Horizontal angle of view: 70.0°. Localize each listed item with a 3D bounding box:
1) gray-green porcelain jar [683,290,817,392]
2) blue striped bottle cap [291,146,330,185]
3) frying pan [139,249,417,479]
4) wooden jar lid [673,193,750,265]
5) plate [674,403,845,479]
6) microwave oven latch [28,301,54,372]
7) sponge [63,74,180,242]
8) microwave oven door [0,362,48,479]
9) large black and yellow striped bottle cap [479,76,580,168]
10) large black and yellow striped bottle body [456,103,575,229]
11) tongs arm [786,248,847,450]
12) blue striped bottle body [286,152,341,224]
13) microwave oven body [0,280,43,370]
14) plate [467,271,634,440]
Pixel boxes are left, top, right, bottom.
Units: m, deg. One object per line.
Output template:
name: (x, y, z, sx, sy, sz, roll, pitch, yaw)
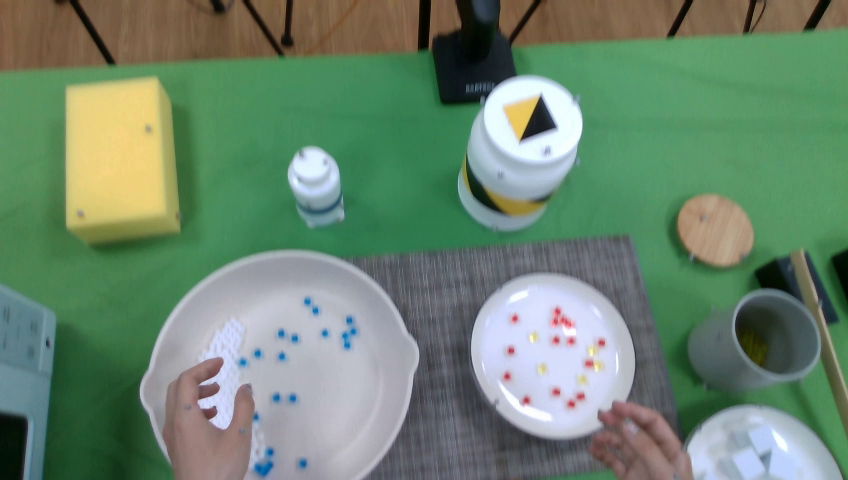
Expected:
gray-green porcelain jar: (0.388, 0.128, 0.740, 0.106, 0.127, 0.105, 2, 69, -4)
blue striped bottle cap: (-0.135, -0.089, 0.721, 0.044, 0.021, 0.044, 1, 67, -2)
frying pan: (-0.147, 0.248, 0.658, 0.307, 0.103, 0.483, -6, 63, -4)
wooden jar lid: (0.400, -0.014, 0.851, 0.108, 0.021, 0.107, 2, 71, -4)
plate: (0.398, 0.302, 0.724, 0.208, 0.039, 0.206, 2, 69, -4)
microwave oven latch: (-0.448, 0.112, 0.698, 0.030, 0.029, 0.078, -3, 71, -7)
sponge: (-0.395, -0.109, 0.791, 0.118, 0.061, 0.205, -10, 72, -9)
microwave oven door: (-0.420, 0.280, 0.530, 0.039, 0.245, 0.353, -5, 70, -7)
large black and yellow striped bottle cap: (0.121, -0.136, 0.691, 0.115, 0.019, 0.114, 2, 68, -4)
large black and yellow striped bottle body: (0.114, -0.106, 0.771, 0.131, 0.185, 0.130, 2, 69, -4)
tongs arm: (0.527, 0.193, 0.746, 0.051, 0.026, 0.383, -9, 81, -11)
blue striped bottle body: (-0.139, -0.071, 0.769, 0.063, 0.121, 0.062, 2, 69, -4)
microwave oven body: (-0.569, 0.253, 0.532, 0.326, 0.261, 0.438, -4, 71, -7)
plate: (0.154, 0.142, 0.757, 0.209, 0.038, 0.207, 2, 70, -4)
